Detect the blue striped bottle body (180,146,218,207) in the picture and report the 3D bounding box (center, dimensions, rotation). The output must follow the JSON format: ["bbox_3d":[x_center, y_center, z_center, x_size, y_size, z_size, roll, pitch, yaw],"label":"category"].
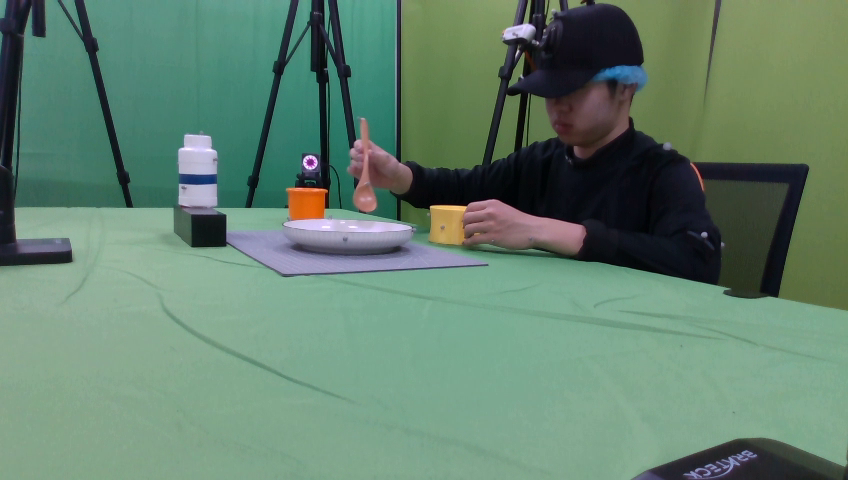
[{"bbox_3d":[-0.392,-0.118,1.053,0.063,0.120,0.063,2,8,0],"label":"blue striped bottle body"}]

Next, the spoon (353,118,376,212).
[{"bbox_3d":[-0.105,-0.136,1.070,0.042,0.193,0.021,7,-22,-20],"label":"spoon"}]

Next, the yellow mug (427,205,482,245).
[{"bbox_3d":[0.062,-0.028,1.111,0.100,0.064,0.130,0,8,-21],"label":"yellow mug"}]

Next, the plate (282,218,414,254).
[{"bbox_3d":[-0.121,-0.007,0.971,0.208,0.039,0.207,2,7,0],"label":"plate"}]

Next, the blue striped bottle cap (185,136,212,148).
[{"bbox_3d":[-0.390,-0.169,1.047,0.044,0.020,0.044,4,10,0],"label":"blue striped bottle cap"}]
